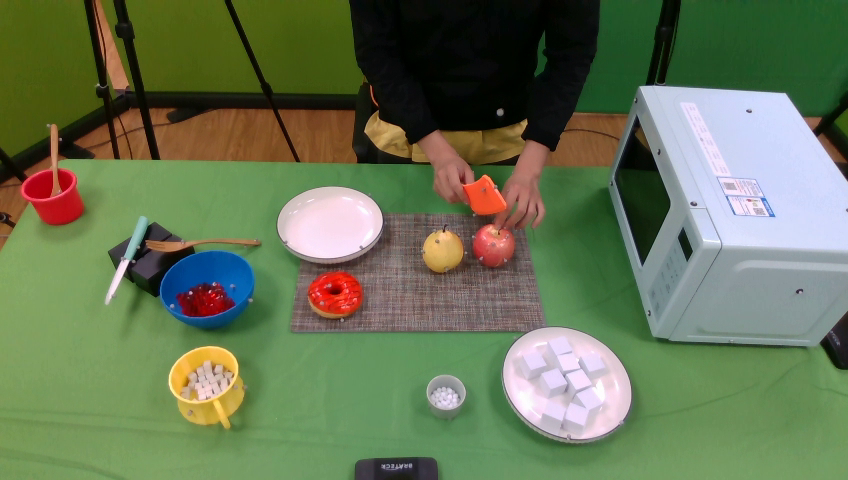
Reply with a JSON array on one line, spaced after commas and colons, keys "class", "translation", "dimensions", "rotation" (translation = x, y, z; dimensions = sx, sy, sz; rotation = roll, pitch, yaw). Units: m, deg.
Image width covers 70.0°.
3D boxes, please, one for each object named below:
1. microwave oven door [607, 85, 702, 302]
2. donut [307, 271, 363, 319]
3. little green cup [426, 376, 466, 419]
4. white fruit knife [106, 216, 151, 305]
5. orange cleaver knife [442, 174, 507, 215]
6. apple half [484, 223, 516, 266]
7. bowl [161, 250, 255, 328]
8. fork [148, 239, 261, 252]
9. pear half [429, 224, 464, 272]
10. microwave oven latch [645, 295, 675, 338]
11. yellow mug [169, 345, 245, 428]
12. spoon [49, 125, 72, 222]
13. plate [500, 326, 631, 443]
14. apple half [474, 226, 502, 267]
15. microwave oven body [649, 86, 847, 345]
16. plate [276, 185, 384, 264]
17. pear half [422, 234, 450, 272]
[{"class": "microwave oven door", "translation": [0.423, -0.094, 1.140], "dimensions": [0.039, 0.245, 0.353], "rotation": [2, 46, -1]}, {"class": "donut", "translation": [-0.157, 0.097, 1.073], "dimensions": [0.099, 0.048, 0.098], "rotation": [4, 45, -4]}, {"class": "little green cup", "translation": [0.033, 0.248, 0.950], "dimensions": [0.061, 0.039, 0.061], "rotation": [2, 46, -2]}, {"class": "white fruit knife", "translation": [-0.519, 0.032, 1.066], "dimensions": [0.027, 0.016, 0.206], "rotation": [-18, 45, 19]}, {"class": "orange cleaver knife", "translation": [0.090, -0.080, 1.111], "dimensions": [0.012, 0.077, 0.210], "rotation": [-32, 13, -18]}, {"class": "apple half", "translation": [0.146, 0.007, 1.161], "dimensions": [0.053, 0.075, 0.080], "rotation": [-17, 44, -26]}, {"class": "bowl", "translation": [-0.362, 0.097, 1.040], "dimensions": [0.151, 0.077, 0.150], "rotation": [2, 45, -2]}, {"class": "fork", "translation": [-0.399, 0.007, 1.118], "dimensions": [0.208, 0.019, 0.028], "rotation": [-4, 35, -37]}, {"class": "pear half", "translation": [0.045, 0.005, 1.131], "dimensions": [0.056, 0.110, 0.076], "rotation": [-32, 60, -29]}, {"class": "microwave oven latch", "translation": [0.412, 0.134, 1.061], "dimensions": [0.030, 0.029, 0.078], "rotation": [3, 45, 0]}, {"class": "yellow mug", "translation": [-0.322, 0.230, 0.922], "dimensions": [0.100, 0.064, 0.130], "rotation": [-24, 53, -25]}, {"class": "spoon", "translation": [-0.717, -0.131, 1.189], "dimensions": [0.041, 0.021, 0.193], "rotation": [-3, 90, -6]}, {"class": "plate", "translation": [0.224, 0.234, 0.978], "dimensions": [0.208, 0.039, 0.206], "rotation": [2, 46, -2]}, {"class": "apple half", "translation": [0.113, 0.018, 1.144], "dimensions": [0.033, 0.081, 0.081], "rotation": [-17, 50, -25]}, {"class": "microwave oven body", "translation": [0.567, -0.053, 1.118], "dimensions": [0.326, 0.261, 0.439], "rotation": [2, 45, -1]}, {"class": "plate", "translation": [-0.184, -0.027, 1.195], "dimensions": [0.209, 0.038, 0.208], "rotation": [2, 46, -2]}, {"class": "pear half", "translation": [0.017, 0.027, 1.122], "dimensions": [0.031, 0.088, 0.070], "rotation": [-32, 61, -30]}]
